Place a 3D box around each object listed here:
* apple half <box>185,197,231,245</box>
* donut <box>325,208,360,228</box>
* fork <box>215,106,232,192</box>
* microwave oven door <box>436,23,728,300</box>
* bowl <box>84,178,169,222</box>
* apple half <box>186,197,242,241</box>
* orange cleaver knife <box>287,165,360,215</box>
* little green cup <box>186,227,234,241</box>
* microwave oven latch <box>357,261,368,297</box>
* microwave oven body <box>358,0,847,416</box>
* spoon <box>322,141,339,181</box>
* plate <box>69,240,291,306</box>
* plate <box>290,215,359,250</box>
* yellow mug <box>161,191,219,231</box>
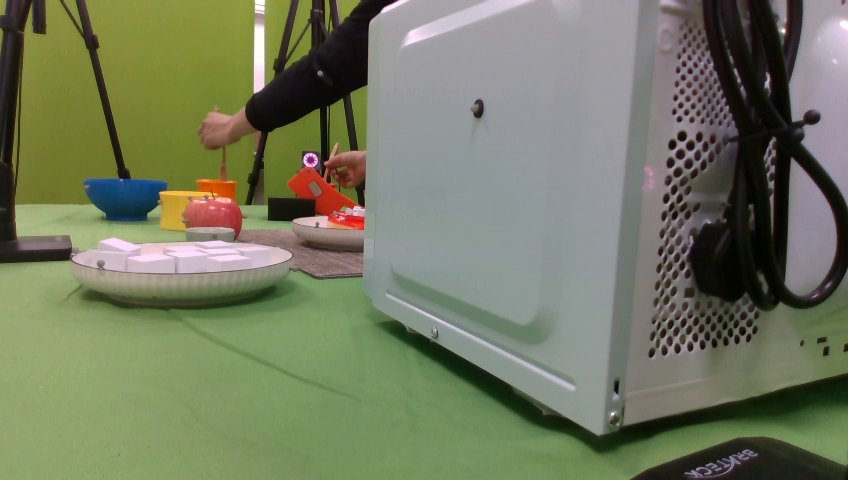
[{"bbox_3d":[-0.337,-0.031,0.928,0.032,0.081,0.082,13,12,37],"label":"apple half"},{"bbox_3d":[-0.110,-0.025,0.974,0.099,0.048,0.099,5,8,0],"label":"donut"},{"bbox_3d":[-0.471,-0.214,1.414,0.018,0.207,0.028,-8,-5,18],"label":"fork"},{"bbox_3d":[0.180,-0.073,0.621,0.358,0.243,0.039,-2,9,-29],"label":"microwave oven door"},{"bbox_3d":[-0.585,-0.078,1.194,0.151,0.077,0.151,3,8,0],"label":"bowl"},{"bbox_3d":[-0.307,-0.026,0.905,0.053,0.074,0.081,14,9,37],"label":"apple half"},{"bbox_3d":[-0.211,-0.092,1.382,0.212,0.077,0.012,34,1,-15],"label":"orange cleaver knife"},{"bbox_3d":[-0.285,0.005,0.805,0.061,0.038,0.061,2,8,0],"label":"little green cup"},{"bbox_3d":[-0.019,0.033,0.531,0.079,0.029,0.030,-1,7,-27],"label":"microwave oven latch"},{"bbox_3d":[0.211,-0.047,0.474,0.444,0.260,0.324,-1,7,-28],"label":"microwave oven body"},{"bbox_3d":[-0.252,-0.177,1.568,0.041,0.193,0.022,6,-20,21],"label":"spoon"},{"bbox_3d":[-0.242,0.032,0.618,0.208,0.039,0.207,3,8,0],"label":"plate"},{"bbox_3d":[-0.110,-0.014,0.974,0.209,0.038,0.209,3,8,0],"label":"plate"},{"bbox_3d":[-0.416,-0.053,1.103,0.130,0.064,0.100,7,9,27],"label":"yellow mug"}]
